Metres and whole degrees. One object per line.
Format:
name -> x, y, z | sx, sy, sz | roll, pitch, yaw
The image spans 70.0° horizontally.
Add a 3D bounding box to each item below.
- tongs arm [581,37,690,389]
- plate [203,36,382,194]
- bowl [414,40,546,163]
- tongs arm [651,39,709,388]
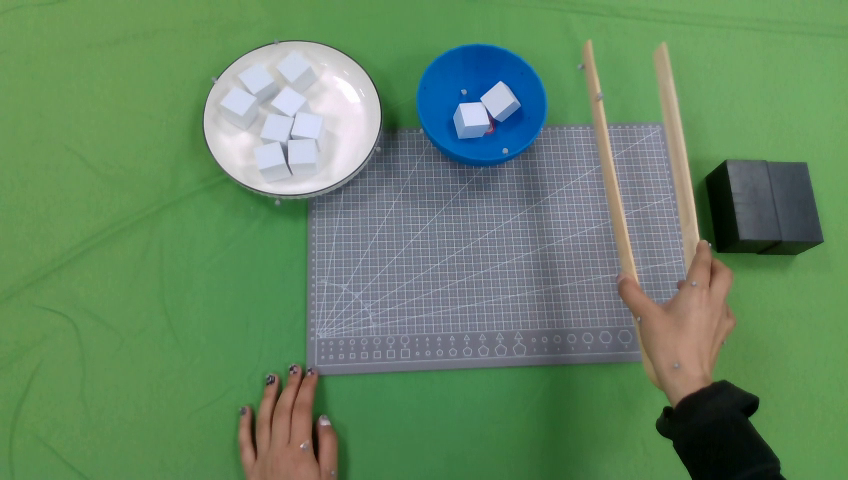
tongs arm -> 0.216, -0.039, 0.634 | 0.051, 0.026, 0.382 | -1, 75, -11
plate -> -0.153, -0.147, 0.726 | 0.208, 0.039, 0.206 | 1, 72, -2
bowl -> 0.062, -0.151, 0.719 | 0.151, 0.077, 0.150 | 1, 72, -3
tongs arm -> 0.266, -0.040, 0.643 | 0.028, 0.028, 0.385 | 4, 74, -13
